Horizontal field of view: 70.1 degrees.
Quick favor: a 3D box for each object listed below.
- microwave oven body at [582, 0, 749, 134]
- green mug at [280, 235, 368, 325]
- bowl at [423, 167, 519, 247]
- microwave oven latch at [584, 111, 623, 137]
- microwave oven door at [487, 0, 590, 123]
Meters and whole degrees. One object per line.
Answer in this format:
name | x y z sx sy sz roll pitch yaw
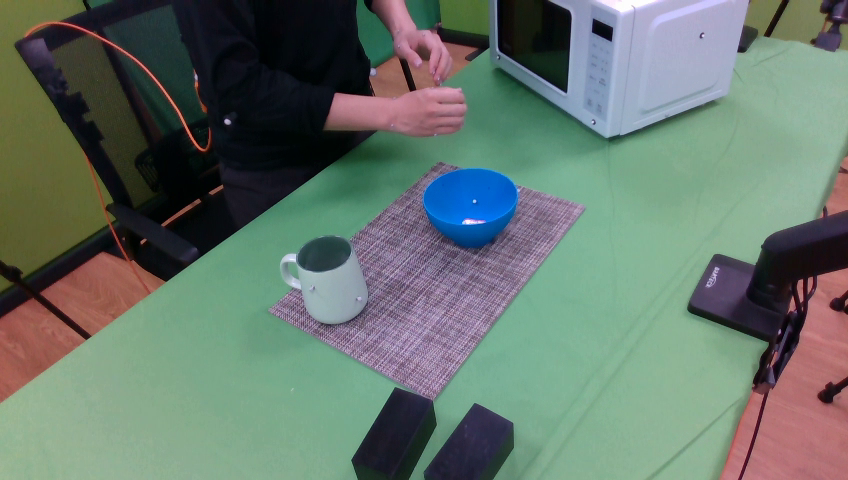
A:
microwave oven body | 0.382 -0.445 1.246 0.327 0.261 0.437 -22 42 -16
green mug | -0.146 0.055 0.857 0.125 0.105 0.092 8 43 17
bowl | 0.075 -0.041 0.958 0.151 0.077 0.150 -4 40 4
microwave oven latch | 0.337 -0.222 1.142 0.030 0.029 0.078 -21 42 -14
microwave oven door | 0.232 -0.420 1.231 0.039 0.245 0.352 -22 43 -16
